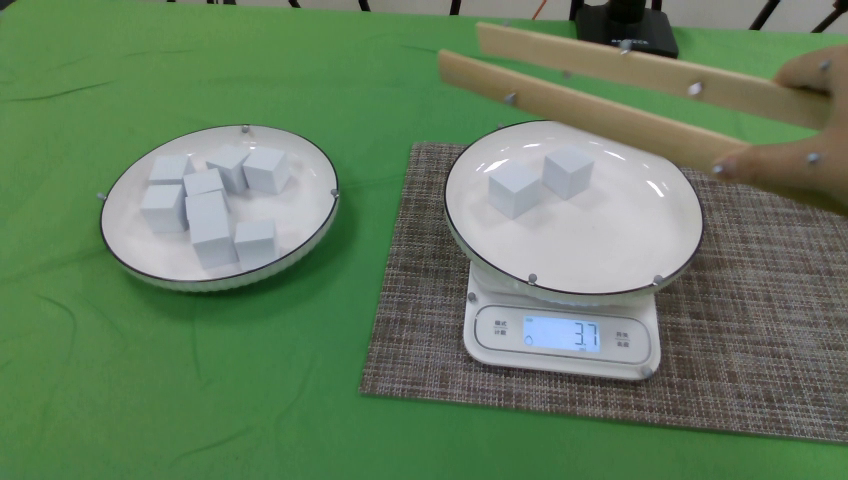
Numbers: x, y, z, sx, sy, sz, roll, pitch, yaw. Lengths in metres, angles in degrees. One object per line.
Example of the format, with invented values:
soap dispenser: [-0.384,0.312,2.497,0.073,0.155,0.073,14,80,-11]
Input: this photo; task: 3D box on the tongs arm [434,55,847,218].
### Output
tongs arm: [0.157,-0.055,0.340,0.384,0.028,0.028,25,53,32]

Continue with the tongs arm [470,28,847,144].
tongs arm: [0.176,-0.073,0.353,0.381,0.027,0.050,23,55,30]

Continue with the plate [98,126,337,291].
plate: [-0.183,-0.030,0.558,0.209,0.038,0.207,0,47,0]

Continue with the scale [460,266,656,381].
scale: [0.112,0.021,0.511,0.148,0.032,0.199,5,48,5]

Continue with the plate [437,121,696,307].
plate: [0.114,-0.023,0.506,0.208,0.039,0.205,1,47,0]
